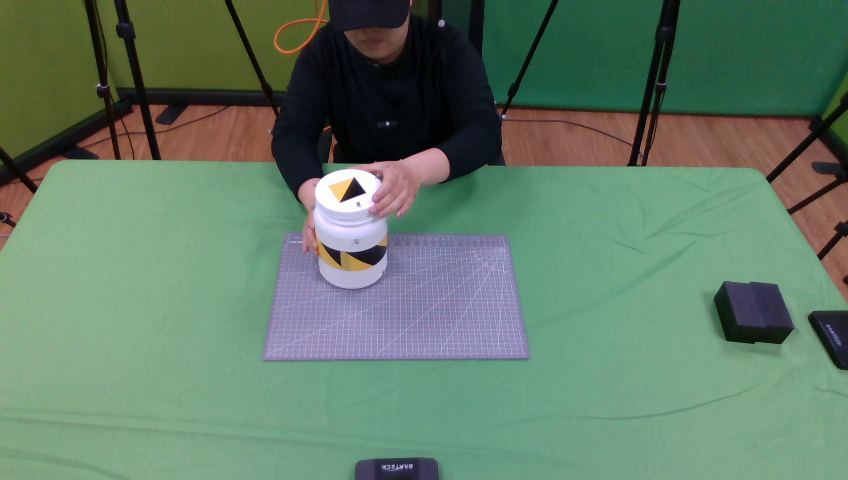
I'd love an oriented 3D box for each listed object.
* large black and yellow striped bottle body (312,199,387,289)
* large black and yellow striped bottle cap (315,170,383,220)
[{"bbox_3d":[-0.131,-0.016,1.087,0.131,0.185,0.130,2,46,-2],"label":"large black and yellow striped bottle body"},{"bbox_3d":[-0.127,-0.078,1.022,0.115,0.019,0.114,0,44,0],"label":"large black and yellow striped bottle cap"}]
